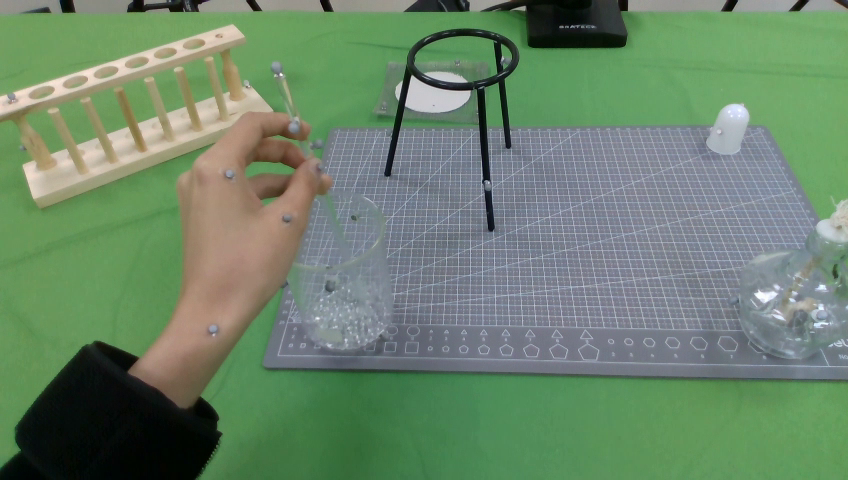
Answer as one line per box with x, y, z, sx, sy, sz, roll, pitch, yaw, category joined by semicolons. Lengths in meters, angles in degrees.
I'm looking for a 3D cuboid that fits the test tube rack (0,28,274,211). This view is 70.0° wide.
-0.283;-0.126;0.606;0.242;0.086;0.066;-27;50;-22;test tube rack

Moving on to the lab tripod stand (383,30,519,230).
0.029;-0.100;0.526;0.148;0.133;0.147;-2;47;3;lab tripod stand

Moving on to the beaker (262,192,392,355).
-0.063;0.028;0.430;0.084;0.101;0.073;-2;45;3;beaker

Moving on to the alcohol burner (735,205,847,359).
0.256;0.025;0.405;0.078;0.120;0.077;-1;44;2;alcohol burner

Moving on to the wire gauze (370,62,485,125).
0.007;-0.170;0.690;0.125;0.011;0.120;3;45;7;wire gauze

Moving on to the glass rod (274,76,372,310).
-0.061;-0.018;0.398;0.008;0.202;0.008;-8;43;8;glass rod

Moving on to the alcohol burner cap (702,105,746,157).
0.291;-0.108;0.584;0.034;0.048;0.033;-1;45;2;alcohol burner cap
